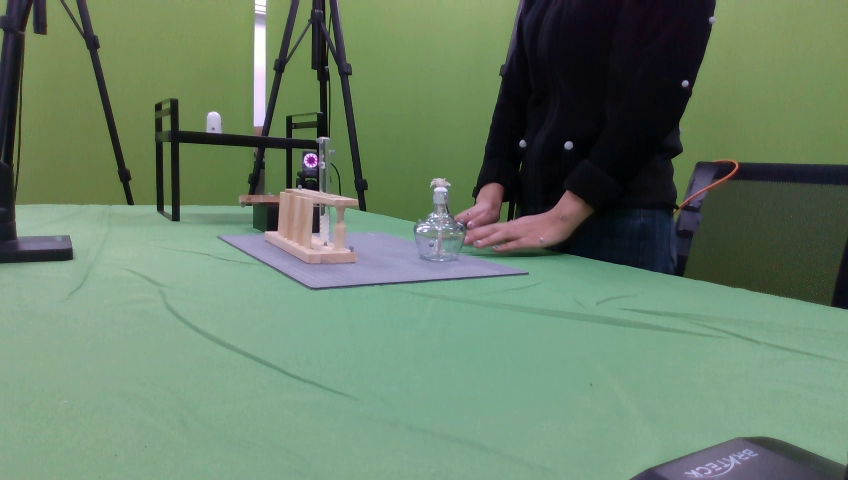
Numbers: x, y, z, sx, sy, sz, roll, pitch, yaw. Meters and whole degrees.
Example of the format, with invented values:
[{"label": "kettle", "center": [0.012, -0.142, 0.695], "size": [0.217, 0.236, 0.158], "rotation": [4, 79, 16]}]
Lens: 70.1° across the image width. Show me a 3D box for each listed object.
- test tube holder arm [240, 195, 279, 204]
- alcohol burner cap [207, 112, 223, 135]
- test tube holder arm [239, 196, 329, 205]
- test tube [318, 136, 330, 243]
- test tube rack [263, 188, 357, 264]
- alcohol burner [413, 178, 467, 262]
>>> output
[{"label": "test tube holder arm", "center": [-0.296, -0.075, 1.124], "size": [0.088, 0.015, 0.010], "rotation": [-1, 4, -35]}, {"label": "alcohol burner cap", "center": [-0.440, -0.245, 1.271], "size": [0.034, 0.048, 0.034], "rotation": [1, 7, 0]}, {"label": "test tube holder arm", "center": [-0.262, -0.076, 1.155], "size": [0.179, 0.015, 0.013], "rotation": [-1, 4, -36]}, {"label": "test tube", "center": [-0.142, -0.070, 0.852], "size": [0.017, 0.150, 0.017], "rotation": [1, 7, 0]}, {"label": "test tube rack", "center": [-0.175, -0.027, 0.890], "size": [0.067, 0.085, 0.241], "rotation": [0, 8, -28]}, {"label": "alcohol burner", "center": [0.022, -0.029, 0.864], "size": [0.078, 0.119, 0.078], "rotation": [1, 7, 0]}]
